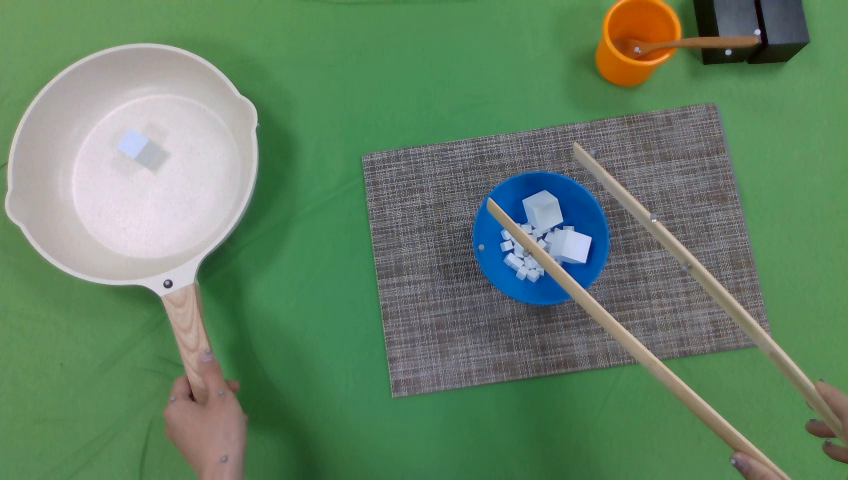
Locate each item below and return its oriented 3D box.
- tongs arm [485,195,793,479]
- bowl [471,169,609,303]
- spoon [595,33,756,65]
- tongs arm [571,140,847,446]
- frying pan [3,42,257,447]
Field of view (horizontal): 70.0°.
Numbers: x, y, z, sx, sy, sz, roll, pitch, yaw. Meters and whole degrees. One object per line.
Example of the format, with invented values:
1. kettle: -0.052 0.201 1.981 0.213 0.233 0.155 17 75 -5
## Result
1. tongs arm: 0.180 0.080 0.508 0.028 0.028 0.383 -35 59 -15
2. bowl: 0.127 0.001 0.696 0.151 0.077 0.151 0 80 1
3. spoon: 0.283 -0.226 0.701 0.022 0.192 0.041 36 77 -36
4. tongs arm: 0.229 0.047 0.516 0.051 0.027 0.380 -31 59 -8
5. frying pan: -0.299 0.002 0.697 0.307 0.103 0.484 -22 72 -2
